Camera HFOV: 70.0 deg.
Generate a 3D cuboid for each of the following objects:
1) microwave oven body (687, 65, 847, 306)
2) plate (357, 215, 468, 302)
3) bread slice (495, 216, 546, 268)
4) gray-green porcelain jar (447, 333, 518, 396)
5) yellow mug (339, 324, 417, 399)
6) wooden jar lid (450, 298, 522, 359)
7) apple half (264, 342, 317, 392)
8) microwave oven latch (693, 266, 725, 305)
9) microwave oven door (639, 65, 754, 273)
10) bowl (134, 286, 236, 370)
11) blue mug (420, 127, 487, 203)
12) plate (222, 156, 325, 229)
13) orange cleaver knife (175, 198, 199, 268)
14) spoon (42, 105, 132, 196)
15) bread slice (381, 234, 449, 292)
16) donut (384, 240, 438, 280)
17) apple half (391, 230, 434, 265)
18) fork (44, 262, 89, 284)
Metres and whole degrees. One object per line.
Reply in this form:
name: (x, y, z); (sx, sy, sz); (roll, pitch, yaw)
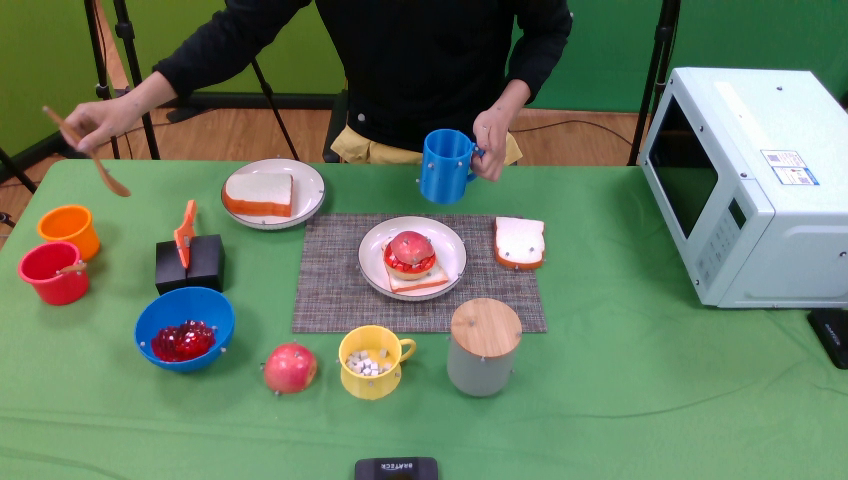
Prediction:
microwave oven body: (0.669, -0.111, 1.176); (0.326, 0.261, 0.439); (0, 46, -3)
plate: (-0.022, 0.037, 1.141); (0.208, 0.039, 0.206); (2, 46, -2)
bread slice: (0.194, 0.002, 1.204); (0.105, 0.019, 0.131); (5, 45, 2)
gray-green porcelain jar: (0.091, 0.178, 0.960); (0.106, 0.127, 0.105); (2, 46, -2)
yellow mug: (-0.072, 0.190, 0.978); (0.131, 0.064, 0.099); (-17, 50, -20)
wooden jar lid: (0.093, 0.135, 0.914); (0.108, 0.021, 0.107); (2, 48, -3)
apple half: (-0.214, 0.198, 0.970); (0.074, 0.053, 0.080); (19, 48, 10)
microwave oven latch: (0.523, 0.082, 1.115); (0.030, 0.029, 0.078); (3, 46, 0)
microwave oven door: (0.522, -0.147, 1.193); (0.039, 0.245, 0.353); (0, 47, -3)
bowl: (-0.377, 0.155, 0.981); (0.151, 0.077, 0.150); (2, 46, -2)
blue mug: (0.053, -0.132, 1.054); (0.117, 0.106, 0.082); (-9, 51, -14)
plate: (-0.308, -0.095, 1.251); (0.209, 0.038, 0.208); (3, 47, -2)
orange cleaver knife: (-0.437, -0.017, 1.138); (0.012, 0.077, 0.210); (-13, 27, -6)
spoon: (-0.561, -0.146, 1.014); (0.021, 0.195, 0.041); (-28, 36, -2)
bread slice: (-0.027, 0.039, 1.141); (0.107, 0.018, 0.133); (-12, 49, -16)
donut: (-0.025, 0.029, 1.109); (0.099, 0.048, 0.098); (2, 46, -2)
apple half: (-0.021, 0.004, 1.085); (0.081, 0.033, 0.081); (7, 44, -6)
fork: (-0.598, 0.054, 1.014); (0.207, 0.019, 0.028); (-15, 29, 45)
